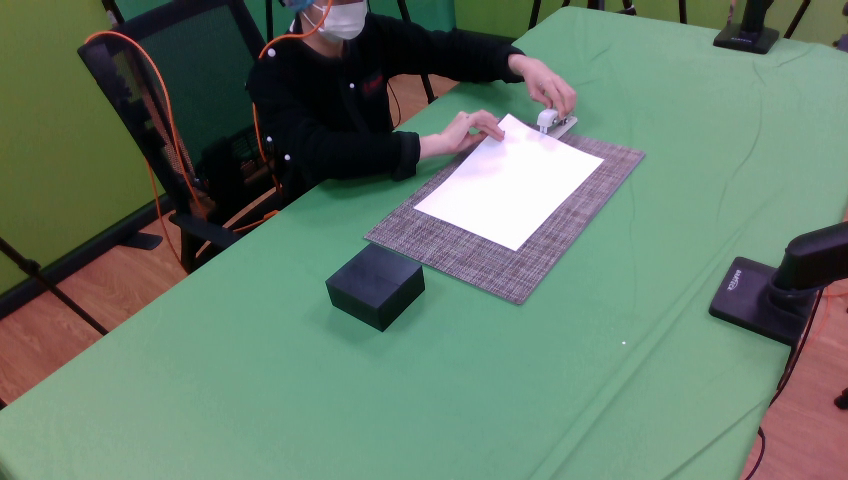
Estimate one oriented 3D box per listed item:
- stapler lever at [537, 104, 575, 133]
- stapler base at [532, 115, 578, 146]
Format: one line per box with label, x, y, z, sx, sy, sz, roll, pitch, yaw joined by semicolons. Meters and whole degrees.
stapler lever;0.257;-0.245;1.173;0.026;0.040;0.118;24;43;29
stapler base;0.258;-0.224;1.187;0.041;0.024;0.131;24;44;29
